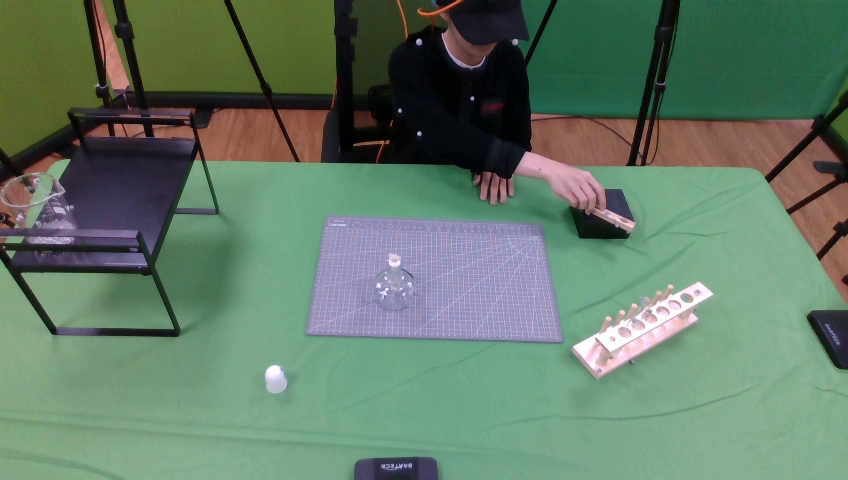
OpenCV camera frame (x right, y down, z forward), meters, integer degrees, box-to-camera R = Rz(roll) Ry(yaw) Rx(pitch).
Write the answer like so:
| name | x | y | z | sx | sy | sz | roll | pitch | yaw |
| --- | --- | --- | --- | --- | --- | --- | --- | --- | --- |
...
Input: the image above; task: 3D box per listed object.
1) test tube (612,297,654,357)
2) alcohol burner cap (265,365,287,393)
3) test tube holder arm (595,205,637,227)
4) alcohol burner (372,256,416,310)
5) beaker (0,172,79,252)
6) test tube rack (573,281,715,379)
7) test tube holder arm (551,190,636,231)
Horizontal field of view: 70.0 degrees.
| name | x | y | z | sx | sy | sz | roll | pitch | yaw |
| --- | --- | --- | --- | --- | --- | --- | --- | --- | --- |
| test tube | 0.329 | 0.142 | 0.964 | 0.017 | 0.151 | 0.017 | 5 | 46 | -5 |
| alcohol burner cap | -0.236 | 0.216 | 0.956 | 0.034 | 0.048 | 0.033 | 3 | 46 | -3 |
| test tube holder arm | 0.377 | -0.045 | 1.197 | 0.087 | 0.015 | 0.010 | 27 | 40 | 24 |
| alcohol burner | -0.052 | 0.068 | 1.057 | 0.078 | 0.120 | 0.077 | 1 | 48 | -1 |
| beaker | -0.557 | -0.038 | 0.889 | 0.084 | 0.101 | 0.073 | -3 | 47 | -8 |
| test tube rack | 0.378 | 0.140 | 1.038 | 0.242 | 0.085 | 0.066 | -22 | 51 | -23 |
| test tube holder arm | 0.337 | -0.061 | 1.211 | 0.178 | 0.015 | 0.013 | 26 | 39 | 22 |
